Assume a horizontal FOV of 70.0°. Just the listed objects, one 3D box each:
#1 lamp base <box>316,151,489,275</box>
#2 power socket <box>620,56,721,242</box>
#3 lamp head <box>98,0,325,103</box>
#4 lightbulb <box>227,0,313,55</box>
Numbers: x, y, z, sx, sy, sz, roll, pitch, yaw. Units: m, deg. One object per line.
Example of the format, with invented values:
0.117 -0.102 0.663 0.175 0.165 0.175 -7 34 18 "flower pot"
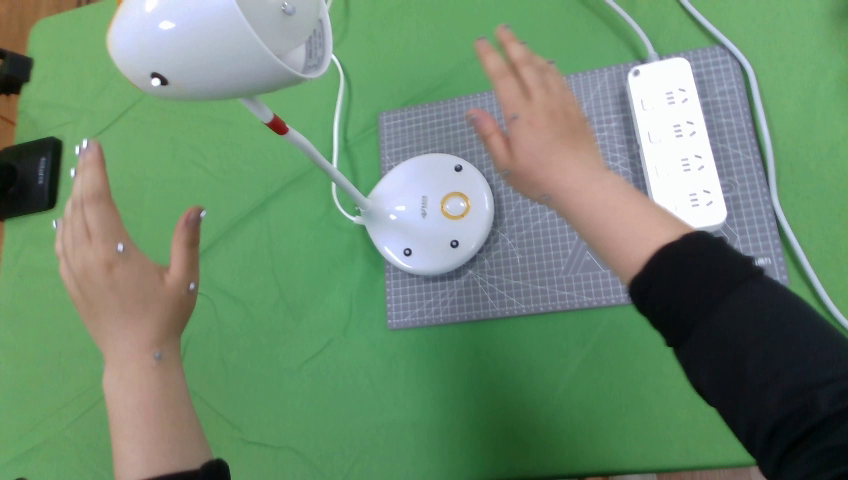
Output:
-0.031 -0.051 0.685 0.179 0.181 0.159 -15 72 15 "lamp base"
0.279 -0.110 0.693 0.072 0.033 0.225 -10 73 12 "power socket"
-0.138 -0.134 0.384 0.122 0.113 0.111 -18 71 27 "lamp head"
-0.118 -0.138 0.367 0.107 0.060 0.059 -8 73 21 "lightbulb"
